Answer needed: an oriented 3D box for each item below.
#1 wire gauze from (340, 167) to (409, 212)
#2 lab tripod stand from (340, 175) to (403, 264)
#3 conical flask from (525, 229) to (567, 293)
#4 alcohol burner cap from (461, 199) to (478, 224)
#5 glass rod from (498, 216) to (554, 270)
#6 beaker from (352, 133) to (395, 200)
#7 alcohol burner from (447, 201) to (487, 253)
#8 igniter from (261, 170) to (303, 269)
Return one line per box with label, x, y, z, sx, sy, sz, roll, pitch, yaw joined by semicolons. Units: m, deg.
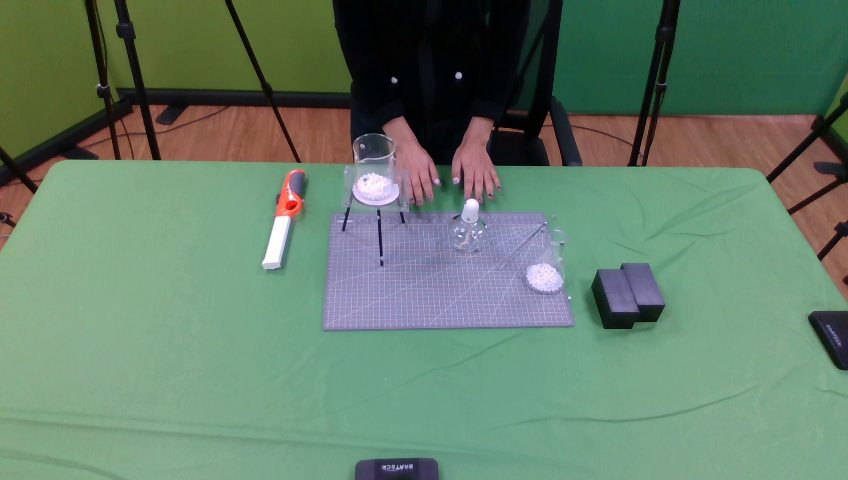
wire gauze;-0.091;-0.095;1.111;0.125;0.011;0.120;1;43;-2
lab tripod stand;-0.093;-0.050;1.160;0.148;0.132;0.147;2;44;-2
conical flask;0.231;0.036;1.110;0.075;0.122;0.075;2;46;-2
alcohol burner cap;0.088;-0.057;1.144;0.034;0.048;0.033;2;52;-2
glass rod;0.208;0.002;1.219;0.008;0.008;0.199;32;52;25
beaker;-0.091;-0.126;1.074;0.074;0.101;0.084;26;48;21
alcohol burner;0.085;-0.033;1.171;0.078;0.119;0.077;4;45;-3
igniter;-0.283;-0.050;1.222;0.057;0.025;0.275;-4;45;6
